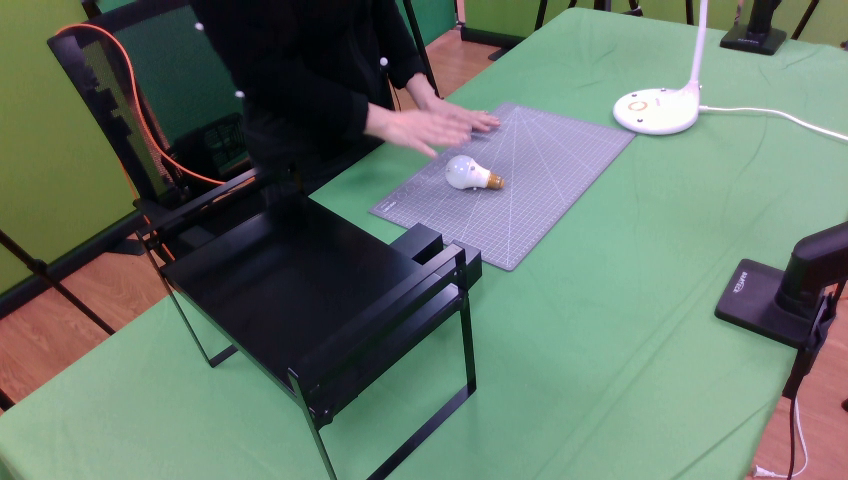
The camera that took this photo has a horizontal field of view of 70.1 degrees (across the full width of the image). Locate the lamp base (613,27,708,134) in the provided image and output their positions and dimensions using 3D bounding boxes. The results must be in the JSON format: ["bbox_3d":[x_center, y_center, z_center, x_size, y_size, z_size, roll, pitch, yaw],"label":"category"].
[{"bbox_3d":[0.463,-0.316,1.153,0.179,0.181,0.159,-5,41,-1],"label":"lamp base"}]

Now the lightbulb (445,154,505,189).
[{"bbox_3d":[0.090,-0.116,1.071,0.107,0.059,0.059,17,44,5],"label":"lightbulb"}]
